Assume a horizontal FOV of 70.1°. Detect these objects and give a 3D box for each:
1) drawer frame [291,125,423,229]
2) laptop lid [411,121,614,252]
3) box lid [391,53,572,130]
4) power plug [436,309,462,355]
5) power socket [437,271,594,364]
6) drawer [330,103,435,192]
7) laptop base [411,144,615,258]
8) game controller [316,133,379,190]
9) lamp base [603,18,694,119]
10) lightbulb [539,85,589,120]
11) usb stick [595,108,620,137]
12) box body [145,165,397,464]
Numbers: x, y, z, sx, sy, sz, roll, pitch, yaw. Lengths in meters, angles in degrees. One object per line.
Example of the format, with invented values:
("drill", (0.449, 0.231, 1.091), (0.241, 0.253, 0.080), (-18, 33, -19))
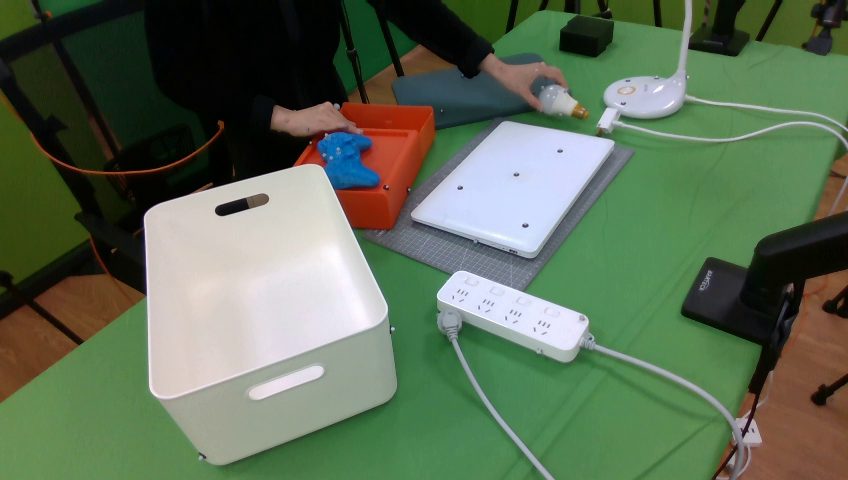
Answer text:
("drawer frame", (-0.124, -0.119, 1.085), (0.201, 0.083, 0.213), (5, 41, 13))
("laptop lid", (0.164, -0.112, 1.068), (0.240, 0.013, 0.357), (19, 46, 30))
("box lid", (0.122, -0.339, 1.366), (0.372, 0.015, 0.261), (-12, 40, -5))
("power plug", (0.032, 0.126, 0.810), (0.035, 0.053, 0.072), (3, 59, 7))
("power socket", (0.118, 0.102, 0.830), (0.225, 0.033, 0.072), (20, 48, 28))
("drawer", (-0.098, -0.181, 1.161), (0.194, 0.073, 0.211), (6, 42, 14))
("laptop base", (0.167, -0.102, 1.074), (0.234, 0.023, 0.355), (16, 45, 30))
("game controller", (-0.133, -0.139, 1.031), (0.097, 0.052, 0.154), (-13, 38, -1))
("lamp base", (0.460, -0.355, 1.205), (0.179, 0.181, 0.160), (2, 41, 7))
("lightbulb", (0.282, -0.272, 1.216), (0.107, 0.059, 0.060), (31, 52, 19))
("usb stick", (0.355, -0.225, 1.175), (0.027, 0.022, 0.059), (29, 85, 40))
("box body", (-0.205, 0.080, 0.802), (0.255, 0.161, 0.361), (-18, 41, -13))
